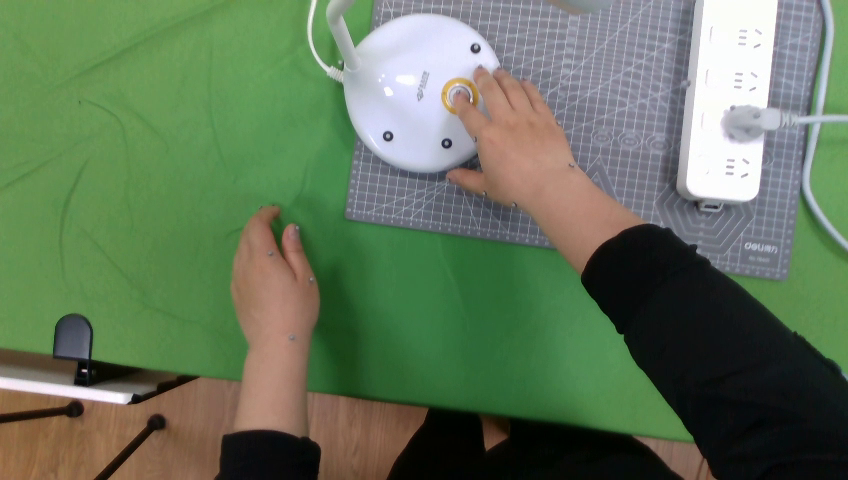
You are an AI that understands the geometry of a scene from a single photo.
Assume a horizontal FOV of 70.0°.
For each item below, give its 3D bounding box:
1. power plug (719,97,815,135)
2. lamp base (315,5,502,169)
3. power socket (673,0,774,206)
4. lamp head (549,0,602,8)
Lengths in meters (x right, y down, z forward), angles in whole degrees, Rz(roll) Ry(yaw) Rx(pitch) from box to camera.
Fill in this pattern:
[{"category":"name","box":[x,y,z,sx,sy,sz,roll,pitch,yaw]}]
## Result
[{"category":"power plug","box":[0.317,-0.112,0.572,0.072,0.052,0.035,17,91,0]},{"category":"lamp base","box":[-0.020,-0.154,0.532,0.179,0.180,0.160,4,90,5]},{"category":"power socket","box":[0.292,-0.148,0.592,0.072,0.032,0.226,6,90,2]},{"category":"lamp head","box":[0.031,-0.163,0.235,0.123,0.112,0.112,10,90,-19]}]
